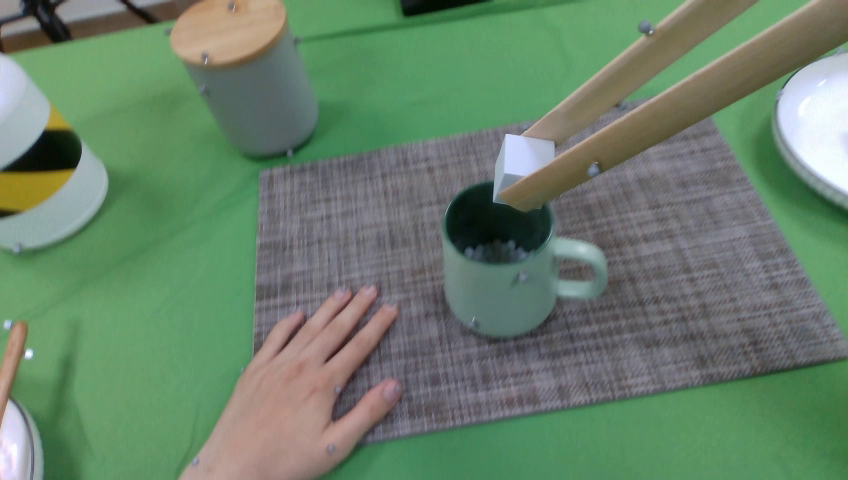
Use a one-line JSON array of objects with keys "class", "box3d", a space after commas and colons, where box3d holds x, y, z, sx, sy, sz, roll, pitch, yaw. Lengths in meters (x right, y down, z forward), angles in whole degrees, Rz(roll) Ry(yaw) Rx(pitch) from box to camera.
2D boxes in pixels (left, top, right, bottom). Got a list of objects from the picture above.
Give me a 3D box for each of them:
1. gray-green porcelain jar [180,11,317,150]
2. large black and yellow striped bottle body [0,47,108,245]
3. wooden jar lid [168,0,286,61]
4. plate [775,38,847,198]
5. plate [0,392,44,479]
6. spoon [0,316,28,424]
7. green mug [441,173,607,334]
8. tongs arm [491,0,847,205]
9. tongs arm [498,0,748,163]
[{"class": "gray-green porcelain jar", "box3d": [-0.169, -0.162, 0.605, 0.106, 0.128, 0.105, -4, 55, 6]}, {"class": "large black and yellow striped bottle body", "box3d": [-0.401, -0.095, 0.557, 0.130, 0.186, 0.129, -4, 55, 6]}, {"class": "wooden jar lid", "box3d": [-0.178, -0.198, 0.555, 0.108, 0.021, 0.107, -3, 58, 6]}, {"class": "plate", "box3d": [0.416, -0.098, 0.527, 0.207, 0.039, 0.205, -4, 55, 6]}, {"class": "plate", "box3d": [-0.374, 0.203, 0.439, 0.209, 0.038, 0.207, -4, 55, 6]}, {"class": "spoon", "box3d": [-0.320, 0.144, 0.452, 0.041, 0.022, 0.192, -9, 63, 1]}, {"class": "green mug", "box3d": [0.073, 0.014, 0.456, 0.125, 0.106, 0.092, 8, 57, 14]}, {"class": "tongs arm", "box3d": [0.153, -0.097, 0.228, 0.028, 0.387, 0.028, 31, 55, -20]}, {"class": "tongs arm", "box3d": [0.158, -0.116, 0.240, 0.027, 0.385, 0.050, 27, 52, -22]}]
